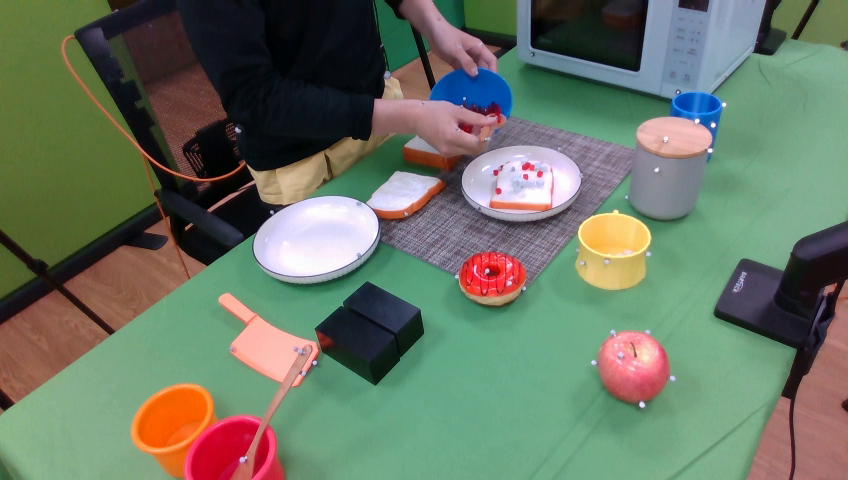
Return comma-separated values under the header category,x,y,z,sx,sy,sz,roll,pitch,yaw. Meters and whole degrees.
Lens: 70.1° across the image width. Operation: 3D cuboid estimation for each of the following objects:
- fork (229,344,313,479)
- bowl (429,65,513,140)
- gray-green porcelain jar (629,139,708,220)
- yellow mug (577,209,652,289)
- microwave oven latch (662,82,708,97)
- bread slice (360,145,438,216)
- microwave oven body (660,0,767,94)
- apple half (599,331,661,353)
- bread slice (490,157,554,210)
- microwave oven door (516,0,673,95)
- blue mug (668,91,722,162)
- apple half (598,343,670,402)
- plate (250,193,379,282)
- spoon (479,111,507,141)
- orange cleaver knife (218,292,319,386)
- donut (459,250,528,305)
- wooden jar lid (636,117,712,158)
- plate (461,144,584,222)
category,x,y,z,sx,sy,sz,roll,pitch,yaw
fork,-0.173,0.205,0.662,0.028,0.019,0.207,29,94,35
bowl,0.086,-0.235,1.100,0.151,0.077,0.150,-2,65,4
gray-green porcelain jar,0.383,-0.104,0.958,0.106,0.127,0.105,-4,41,4
yellow mug,0.279,0.004,0.893,0.099,0.064,0.130,5,42,15
microwave oven latch,0.518,-0.298,1.202,0.078,0.029,0.030,28,53,35
bread slice,-0.053,-0.103,1.046,0.106,0.018,0.134,19,67,23
microwave oven body,0.473,-0.516,1.313,0.438,0.261,0.327,26,51,34
apple half,0.249,0.134,0.738,0.081,0.081,0.032,-1,46,7
bread slice,0.173,-0.099,1.048,0.104,0.019,0.131,4,45,12
microwave oven door,0.344,-0.458,1.256,0.353,0.245,0.039,26,51,33
blue mug,0.474,-0.207,1.079,0.082,0.106,0.116,4,42,13
apple half,0.247,0.161,0.710,0.081,0.075,0.053,1,47,5
plate,-0.174,0.000,0.984,0.209,0.038,0.208,-3,40,3
spoon,0.101,-0.179,0.939,0.041,0.021,0.194,3,19,12
orange cleaver knife,-0.234,0.136,0.850,0.209,0.012,0.077,25,56,30
donut,0.100,0.053,0.872,0.099,0.048,0.098,-5,40,4
wooden jar lid,0.377,-0.151,0.917,0.108,0.021,0.108,-2,41,3
plate,0.167,-0.095,1.040,0.207,0.039,0.206,-4,41,4
